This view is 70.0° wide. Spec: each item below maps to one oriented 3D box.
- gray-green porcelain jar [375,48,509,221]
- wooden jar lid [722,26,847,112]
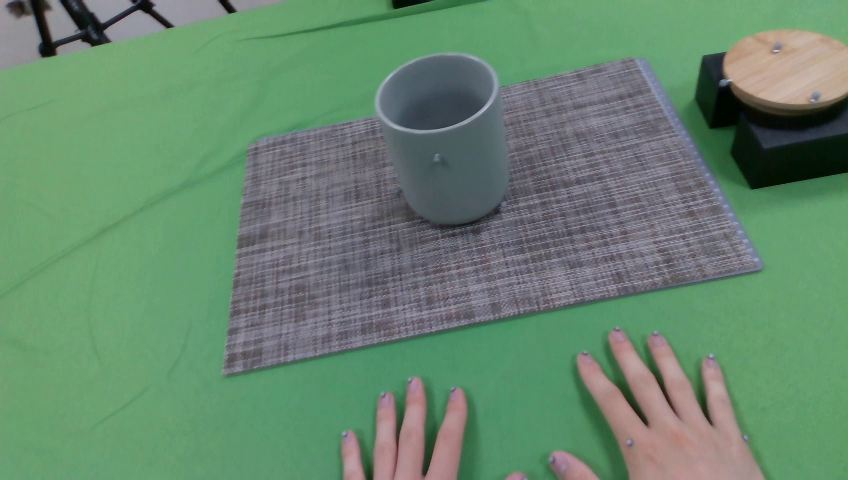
[{"bbox_3d":[0.021,-0.088,0.547,0.106,0.128,0.105,-6,51,8],"label":"gray-green porcelain jar"},{"bbox_3d":[0.322,-0.151,0.536,0.108,0.021,0.107,-6,52,9],"label":"wooden jar lid"}]
